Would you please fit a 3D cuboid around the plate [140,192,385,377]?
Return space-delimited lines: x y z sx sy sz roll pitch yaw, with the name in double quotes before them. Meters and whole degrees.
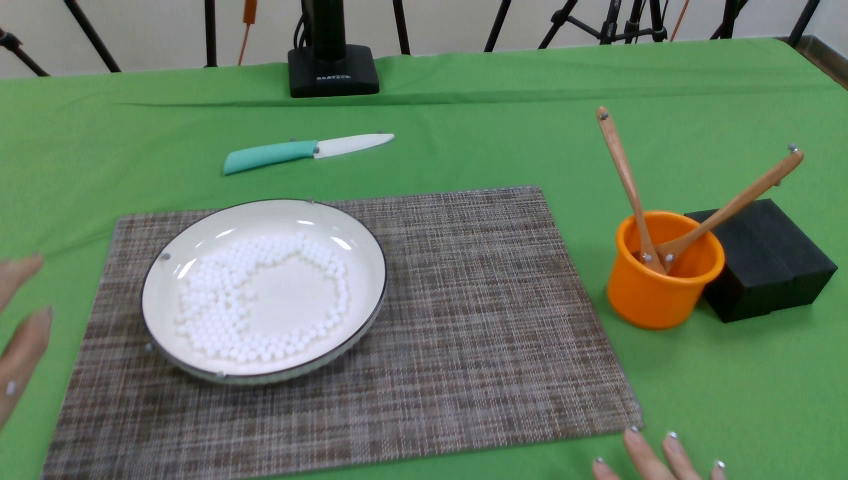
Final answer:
"plate" -0.138 0.037 0.541 0.209 0.038 0.207 2 44 -1

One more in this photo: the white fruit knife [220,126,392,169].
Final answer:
"white fruit knife" -0.137 -0.115 0.718 0.208 0.016 0.027 -13 75 -18

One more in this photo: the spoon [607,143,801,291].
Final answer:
"spoon" 0.246 -0.018 0.539 0.041 0.194 0.021 52 23 6

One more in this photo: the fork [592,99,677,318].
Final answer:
"fork" 0.189 -0.029 0.551 0.028 0.018 0.207 -18 92 -5
